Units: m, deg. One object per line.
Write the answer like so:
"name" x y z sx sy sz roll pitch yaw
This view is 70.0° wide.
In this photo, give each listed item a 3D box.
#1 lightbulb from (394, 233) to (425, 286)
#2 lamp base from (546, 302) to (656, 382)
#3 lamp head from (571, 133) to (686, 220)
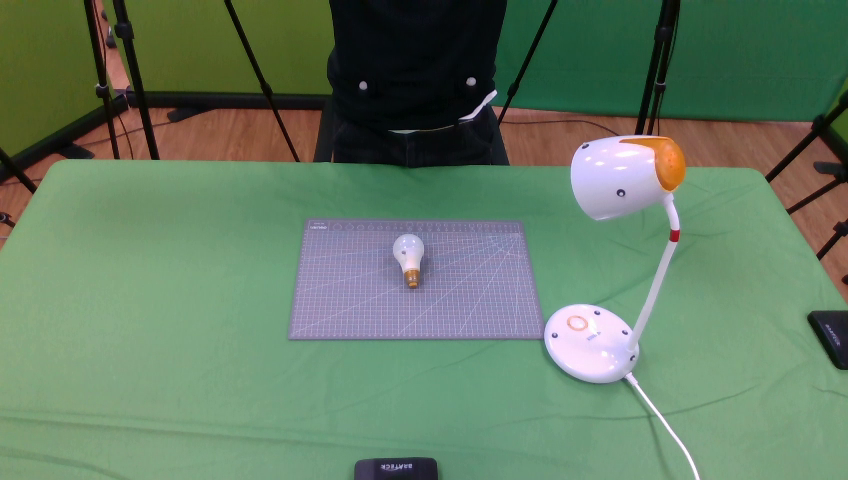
"lightbulb" -0.025 0.037 1.134 0.059 0.060 0.107 -4 63 -7
"lamp base" 0.303 0.127 0.982 0.160 0.181 0.178 -34 59 -29
"lamp head" 0.271 -0.085 0.780 0.112 0.113 0.122 -40 22 -33
